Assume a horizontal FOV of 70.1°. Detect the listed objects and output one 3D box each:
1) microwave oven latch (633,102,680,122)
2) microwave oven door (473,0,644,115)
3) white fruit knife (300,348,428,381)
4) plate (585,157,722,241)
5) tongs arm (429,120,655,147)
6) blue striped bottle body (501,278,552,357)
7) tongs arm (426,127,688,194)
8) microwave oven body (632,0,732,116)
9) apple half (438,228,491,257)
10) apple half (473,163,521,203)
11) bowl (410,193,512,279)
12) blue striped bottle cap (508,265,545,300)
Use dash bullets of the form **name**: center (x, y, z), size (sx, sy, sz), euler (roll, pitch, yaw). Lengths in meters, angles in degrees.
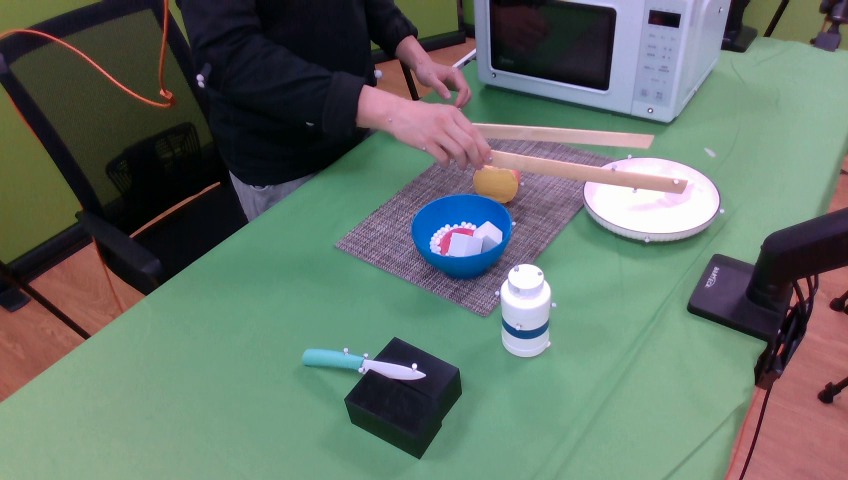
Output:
- **microwave oven latch**: center (0.444, -0.249, 1.157), size (0.078, 0.029, 0.030), euler (21, 49, 30)
- **microwave oven door**: center (0.257, -0.396, 1.199), size (0.353, 0.245, 0.039), euler (21, 48, 29)
- **white fruit knife**: center (-0.079, 0.154, 0.748), size (0.206, 0.027, 0.016), euler (1, 20, 34)
- **plate**: center (0.367, -0.063, 0.979), size (0.207, 0.039, 0.206), euler (-4, 40, 4)
- **tongs arm**: center (0.188, -0.160, 0.931), size (0.390, 0.028, 0.028), euler (0, 46, -17)
- **blue striped bottle body**: center (0.129, 0.089, 0.769), size (0.063, 0.121, 0.063), euler (-4, 40, 4)
- **tongs arm**: center (0.194, -0.114, 0.877), size (0.386, 0.026, 0.050), euler (7, 42, -9)
- **microwave oven body**: center (0.377, -0.462, 1.267), size (0.438, 0.261, 0.327), euler (21, 48, 30)
- **apple half**: center (0.056, 0.002, 0.901), size (0.081, 0.033, 0.081), euler (-4, 41, 4)
- **apple half**: center (0.128, -0.107, 1.030), size (0.080, 0.075, 0.053), euler (5, 39, 20)
- **bowl**: center (0.058, 0.005, 0.905), size (0.151, 0.077, 0.150), euler (-4, 40, 3)
- **blue striped bottle cap**: center (0.125, 0.051, 0.735), size (0.044, 0.021, 0.044), euler (-6, 38, 5)
